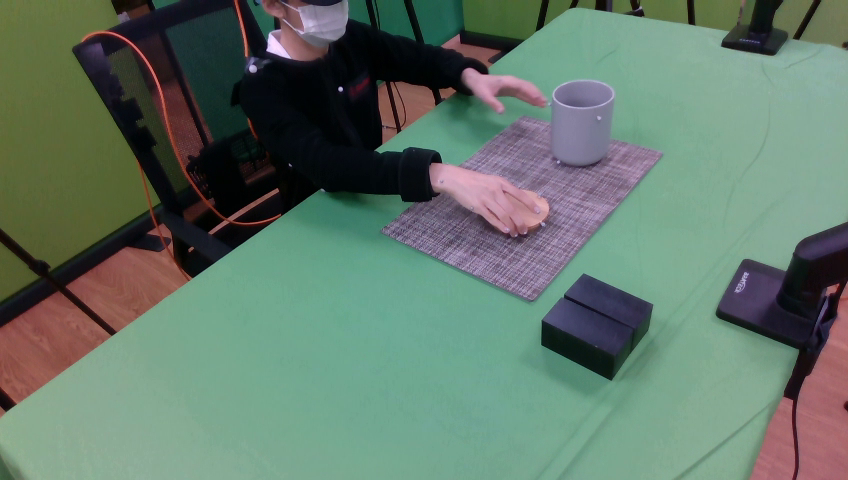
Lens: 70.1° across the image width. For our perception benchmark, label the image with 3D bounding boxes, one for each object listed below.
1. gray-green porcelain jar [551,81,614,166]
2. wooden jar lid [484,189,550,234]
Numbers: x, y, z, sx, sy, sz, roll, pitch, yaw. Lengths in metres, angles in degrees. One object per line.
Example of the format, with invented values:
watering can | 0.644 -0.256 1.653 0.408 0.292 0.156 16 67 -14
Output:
gray-green porcelain jar | 0.282 -0.205 1.086 0.106 0.127 0.105 -5 40 4
wooden jar lid | 0.153 -0.046 1.000 0.108 0.021 0.108 -2 40 2
